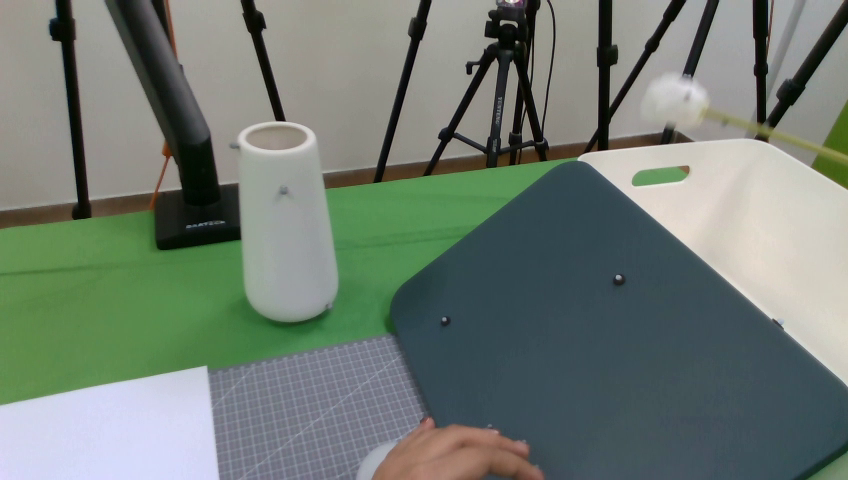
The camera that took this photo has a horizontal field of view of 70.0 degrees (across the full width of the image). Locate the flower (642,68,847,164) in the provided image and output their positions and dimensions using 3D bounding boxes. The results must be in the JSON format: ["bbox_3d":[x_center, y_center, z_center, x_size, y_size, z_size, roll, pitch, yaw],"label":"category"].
[{"bbox_3d":[0.313,-0.063,0.453,0.038,0.044,0.357,32,6,-45],"label":"flower"}]

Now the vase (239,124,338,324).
[{"bbox_3d":[-0.140,-0.012,0.613,0.098,0.201,0.097,2,34,-1],"label":"vase"}]

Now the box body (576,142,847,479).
[{"bbox_3d":[0.325,0.057,0.594,0.255,0.161,0.360,-8,36,-16],"label":"box body"}]

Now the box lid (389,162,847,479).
[{"bbox_3d":[0.117,0.091,0.512,0.263,0.015,0.367,-38,39,6],"label":"box lid"}]

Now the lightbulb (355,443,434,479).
[{"bbox_3d":[-0.016,0.201,0.440,0.060,0.060,0.106,-6,51,-14],"label":"lightbulb"}]
